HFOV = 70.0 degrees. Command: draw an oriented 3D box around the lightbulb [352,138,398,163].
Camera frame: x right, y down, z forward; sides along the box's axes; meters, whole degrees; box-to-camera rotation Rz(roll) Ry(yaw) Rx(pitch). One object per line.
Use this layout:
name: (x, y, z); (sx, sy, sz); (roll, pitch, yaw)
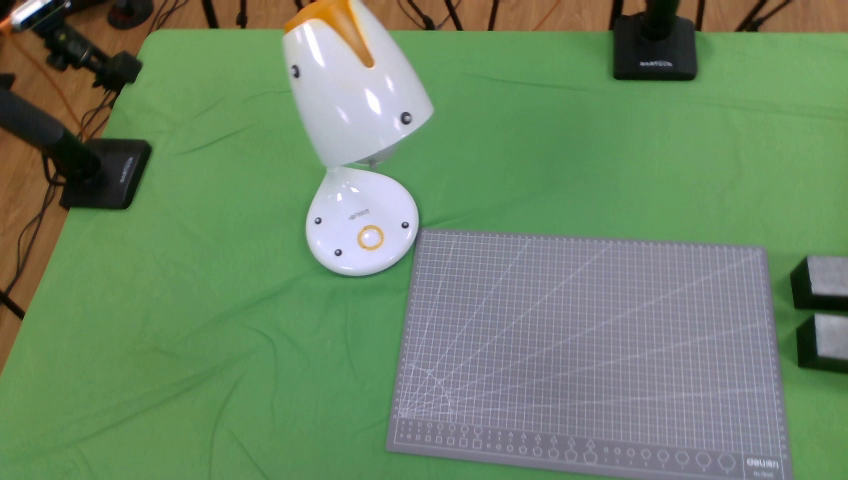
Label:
lightbulb: (-0.059, -0.118, 0.521); (0.059, 0.108, 0.059); (-16, 25, 8)

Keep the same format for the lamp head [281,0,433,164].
lamp head: (-0.067, -0.142, 0.515); (0.112, 0.124, 0.111); (-26, 21, 11)

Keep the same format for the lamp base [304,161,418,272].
lamp base: (-0.105, -0.071, 0.783); (0.160, 0.182, 0.177); (-34, 62, -9)
